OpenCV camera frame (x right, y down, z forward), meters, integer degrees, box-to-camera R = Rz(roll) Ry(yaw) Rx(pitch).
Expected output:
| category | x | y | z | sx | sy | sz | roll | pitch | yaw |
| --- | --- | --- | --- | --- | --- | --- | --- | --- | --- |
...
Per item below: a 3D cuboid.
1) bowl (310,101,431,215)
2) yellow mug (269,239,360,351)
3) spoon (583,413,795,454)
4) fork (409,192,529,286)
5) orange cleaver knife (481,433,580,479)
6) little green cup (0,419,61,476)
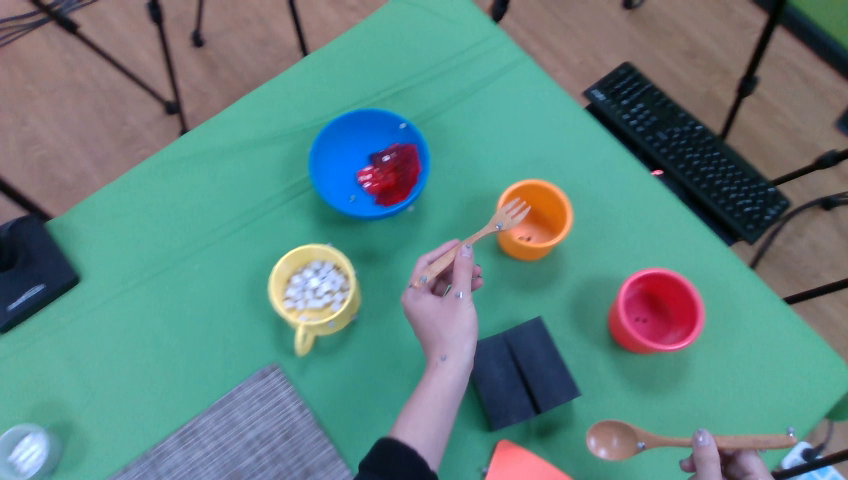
| category | x | y | z | sx | sy | sz | roll | pitch | yaw |
| --- | --- | --- | --- | --- | --- | --- | --- | --- | --- |
| bowl | -0.065 | -0.093 | 0.783 | 0.151 | 0.077 | 0.150 | 0 | 72 | 0 |
| yellow mug | -0.134 | 0.070 | 0.732 | 0.100 | 0.064 | 0.130 | 10 | 72 | 3 |
| spoon | 0.243 | 0.186 | 0.576 | 0.193 | 0.022 | 0.041 | -14 | 73 | 42 |
| fork | 0.053 | -0.004 | 0.657 | 0.028 | 0.019 | 0.207 | 45 | 47 | 12 |
| orange cleaver knife | 0.156 | 0.302 | 0.679 | 0.210 | 0.012 | 0.077 | 35 | 68 | 12 |
| little green cup | -0.448 | 0.236 | 0.687 | 0.061 | 0.039 | 0.061 | 0 | 71 | 0 |
